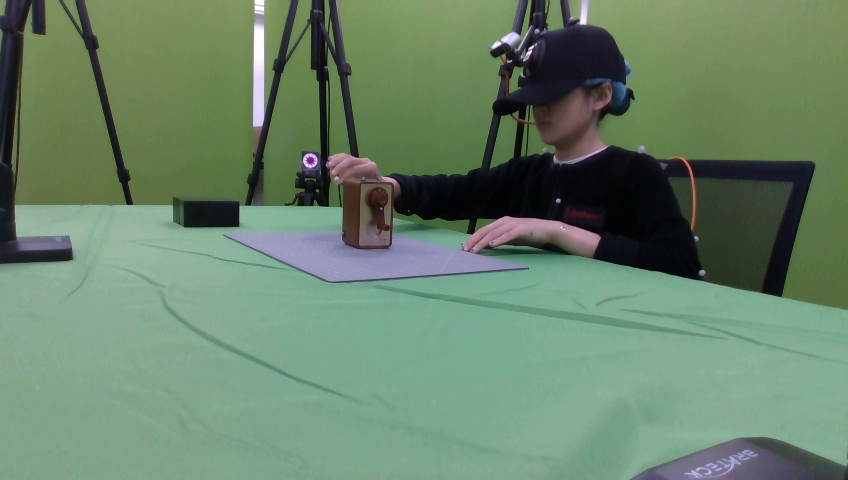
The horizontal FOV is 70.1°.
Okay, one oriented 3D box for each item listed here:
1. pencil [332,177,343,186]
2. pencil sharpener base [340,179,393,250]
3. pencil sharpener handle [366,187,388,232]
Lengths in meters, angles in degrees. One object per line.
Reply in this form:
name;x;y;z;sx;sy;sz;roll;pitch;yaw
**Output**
pencil;-0.135;-0.093;1.059;0.012;0.012;0.193;0;14;-22
pencil sharpener base;-0.091;-0.041;0.960;0.061;0.107;0.076;0;9;-28
pencil sharpener handle;-0.065;-0.046;0.915;0.036;0.067;0.030;-8;12;-27
